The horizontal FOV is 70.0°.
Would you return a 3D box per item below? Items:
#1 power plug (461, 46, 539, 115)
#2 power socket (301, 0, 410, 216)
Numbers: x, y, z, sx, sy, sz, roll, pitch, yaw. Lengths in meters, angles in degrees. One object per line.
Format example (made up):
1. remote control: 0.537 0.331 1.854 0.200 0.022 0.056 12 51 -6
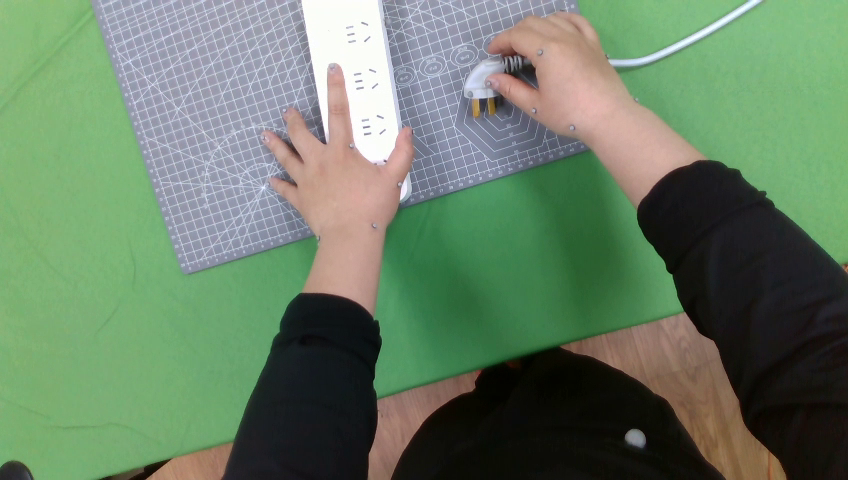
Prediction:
1. power plug: 0.069 -0.143 0.551 0.072 0.035 0.053 -3 120 21
2. power socket: -0.064 -0.135 0.573 0.072 0.032 0.227 -8 95 6
